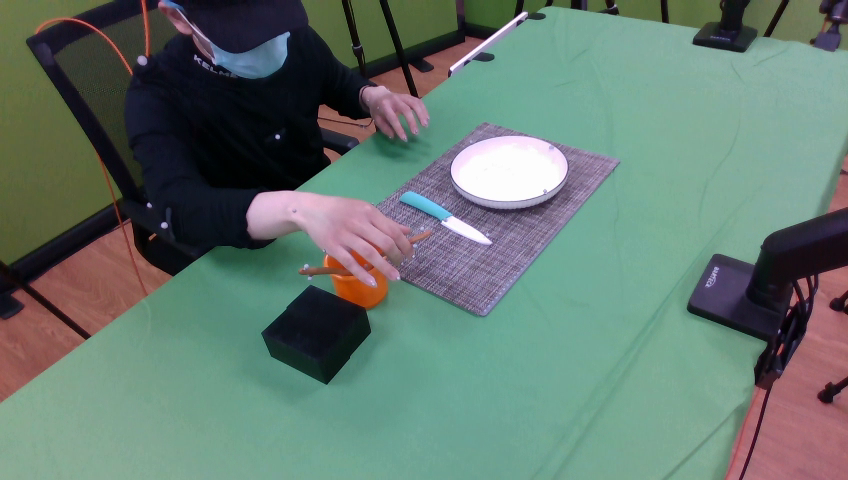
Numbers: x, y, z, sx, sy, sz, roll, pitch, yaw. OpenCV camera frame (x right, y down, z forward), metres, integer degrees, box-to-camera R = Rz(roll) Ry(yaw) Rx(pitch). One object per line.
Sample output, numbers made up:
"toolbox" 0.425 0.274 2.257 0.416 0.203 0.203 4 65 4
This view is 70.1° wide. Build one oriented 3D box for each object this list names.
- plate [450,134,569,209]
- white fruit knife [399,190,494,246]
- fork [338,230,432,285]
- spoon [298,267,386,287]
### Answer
"plate" 0.149 -0.117 1.066 0.209 0.038 0.208 -3 41 3
"white fruit knife" 0.036 -0.038 1.009 0.205 0.016 0.027 32 84 34
"fork" -0.058 0.027 0.847 0.206 0.018 0.028 -33 5 43
"spoon" -0.111 0.047 0.826 0.041 0.195 0.021 -23 71 23
